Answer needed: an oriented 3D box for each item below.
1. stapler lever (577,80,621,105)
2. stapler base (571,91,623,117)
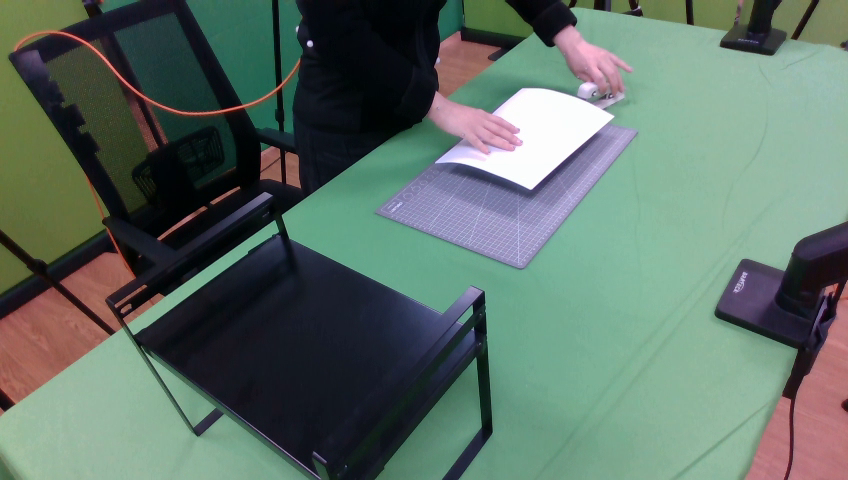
[{"bbox_3d":[0.360,-0.311,1.241,0.118,0.040,0.026,-28,48,-28],"label":"stapler lever"},{"bbox_3d":[0.360,-0.290,1.256,0.131,0.024,0.041,-28,48,-28],"label":"stapler base"}]
